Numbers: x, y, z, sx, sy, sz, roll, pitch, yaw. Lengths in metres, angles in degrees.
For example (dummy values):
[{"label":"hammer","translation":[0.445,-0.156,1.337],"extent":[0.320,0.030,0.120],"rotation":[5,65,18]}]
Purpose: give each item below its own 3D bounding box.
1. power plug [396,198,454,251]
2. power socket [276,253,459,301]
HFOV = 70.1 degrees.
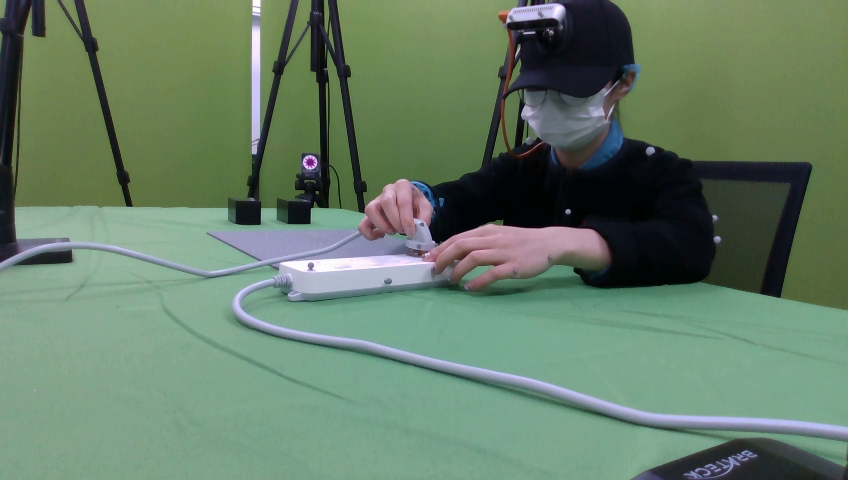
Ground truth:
[{"label":"power plug","translation":[-0.001,-0.022,0.718],"extent":[0.053,0.072,0.035],"rotation":[22,-9,-23]},{"label":"power socket","translation":[-0.056,0.037,0.674],"extent":[0.228,0.032,0.072],"rotation":[-3,8,-38]}]
